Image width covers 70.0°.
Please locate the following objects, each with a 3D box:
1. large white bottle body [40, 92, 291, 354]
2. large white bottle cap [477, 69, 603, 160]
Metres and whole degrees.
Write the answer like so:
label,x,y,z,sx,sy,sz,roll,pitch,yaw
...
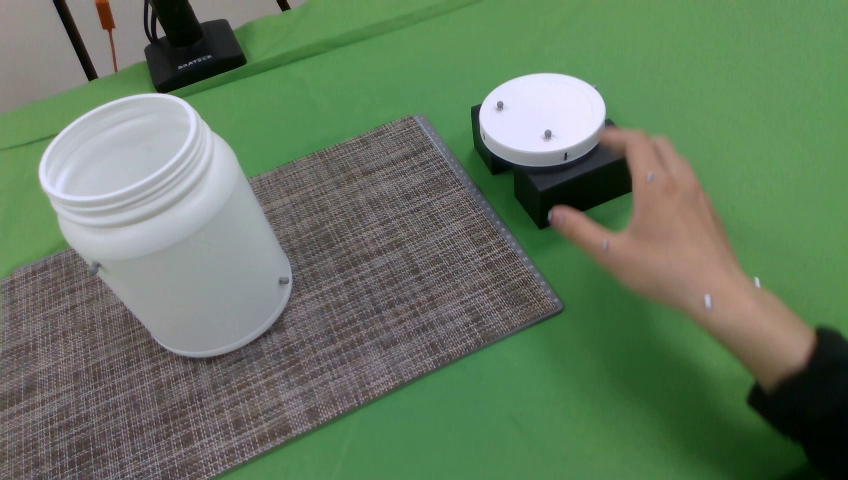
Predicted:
label,x,y,z,sx,sy,sz,roll,pitch,yaw
large white bottle body,-0.192,-0.009,0.475,0.130,0.186,0.129,-4,50,6
large white bottle cap,0.107,-0.118,0.561,0.115,0.018,0.113,-5,50,6
